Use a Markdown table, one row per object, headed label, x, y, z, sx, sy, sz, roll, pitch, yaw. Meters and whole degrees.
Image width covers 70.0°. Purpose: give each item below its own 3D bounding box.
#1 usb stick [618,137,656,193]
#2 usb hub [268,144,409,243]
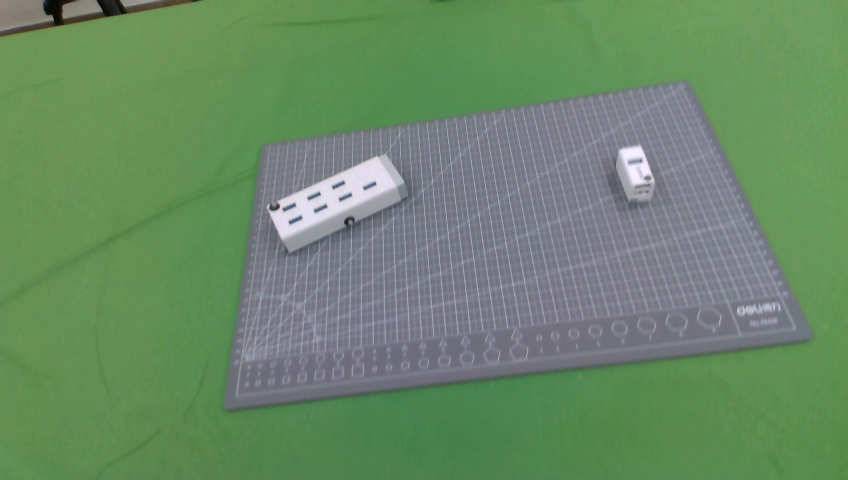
| label | x | y | z | sx | sy | sz | roll | pitch | yaw |
| --- | --- | --- | --- | --- | --- | --- | --- | --- | --- |
| usb stick | 0.189 | -0.072 | 0.543 | 0.021 | 0.027 | 0.058 | -9 | 52 | 6 |
| usb hub | -0.080 | -0.046 | 0.572 | 0.125 | 0.025 | 0.049 | -25 | 55 | -9 |
